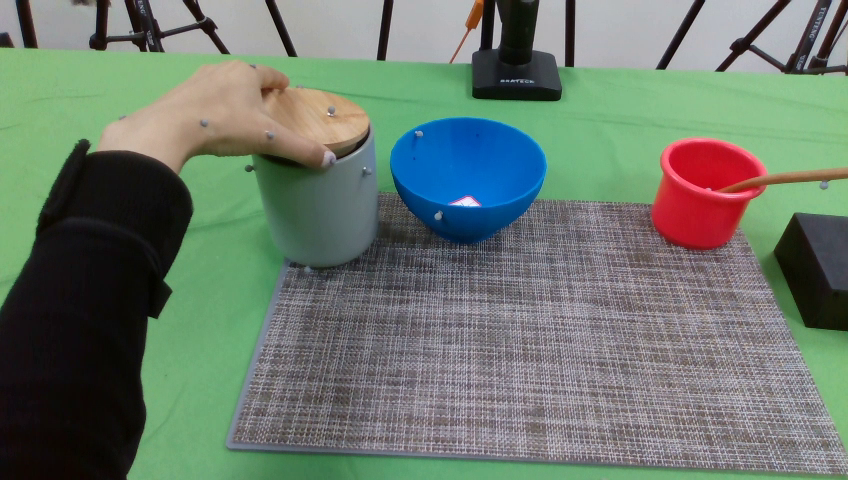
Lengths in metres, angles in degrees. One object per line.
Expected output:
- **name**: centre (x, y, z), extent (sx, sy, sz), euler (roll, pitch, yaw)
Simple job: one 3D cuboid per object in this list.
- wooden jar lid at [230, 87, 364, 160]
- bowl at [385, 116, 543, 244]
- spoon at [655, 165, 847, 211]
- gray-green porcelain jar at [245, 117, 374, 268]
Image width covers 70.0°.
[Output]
- **wooden jar lid**: centre (-0.105, -0.097, 0.505), extent (0.108, 0.021, 0.107), euler (7, 35, -4)
- **bowl**: centre (0.038, -0.050, 0.600), extent (0.151, 0.077, 0.150), euler (1, 43, 0)
- **spoon**: centre (0.296, -0.049, 0.558), extent (0.041, 0.193, 0.022), euler (-29, 97, -26)
- **gray-green porcelain jar**: centre (-0.100, -0.046, 0.557), extent (0.106, 0.127, 0.105), euler (1, 43, 0)
